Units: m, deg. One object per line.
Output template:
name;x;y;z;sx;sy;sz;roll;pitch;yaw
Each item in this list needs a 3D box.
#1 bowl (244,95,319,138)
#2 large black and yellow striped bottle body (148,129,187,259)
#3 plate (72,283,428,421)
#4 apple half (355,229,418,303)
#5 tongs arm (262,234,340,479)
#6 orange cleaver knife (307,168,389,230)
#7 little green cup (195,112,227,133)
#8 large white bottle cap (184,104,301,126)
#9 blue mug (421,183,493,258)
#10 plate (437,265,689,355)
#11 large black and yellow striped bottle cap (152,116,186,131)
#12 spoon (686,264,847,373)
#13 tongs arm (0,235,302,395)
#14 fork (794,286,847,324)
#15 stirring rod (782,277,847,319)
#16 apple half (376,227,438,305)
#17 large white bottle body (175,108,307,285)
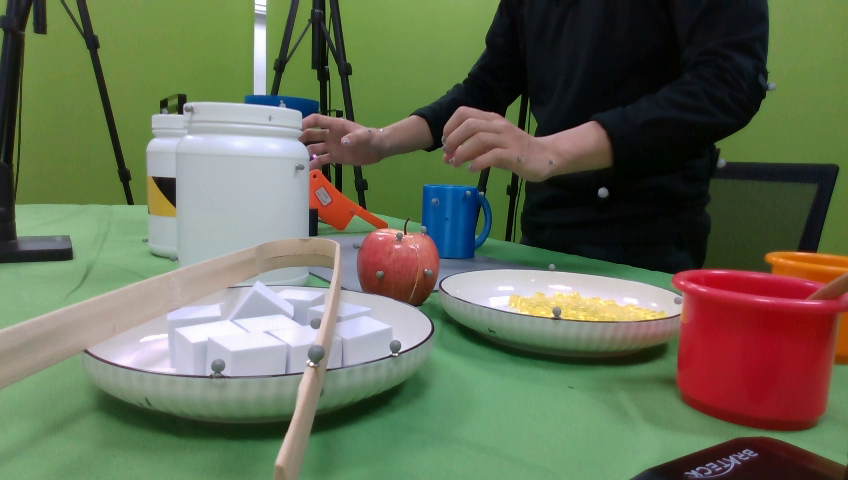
bowl;-0.293;-0.251;1.249;0.151;0.077;0.151;2;7;0
large black and yellow striped bottle body;-0.310;-0.073;0.838;0.131;0.184;0.130;2;8;0
plate;-0.102;0.066;0.381;0.208;0.039;0.207;2;7;0
apple half;-0.043;0.027;0.564;0.081;0.081;0.033;9;5;42
tongs arm;-0.074;0.039;0.349;0.051;0.026;0.384;-2;10;-3
orange cleaver knife;-0.158;-0.060;1.166;0.212;0.077;0.012;34;-12;-32
little green cup;-0.412;-0.227;1.171;0.061;0.038;0.061;3;8;0
large white bottle cap;-0.184;-0.126;0.618;0.115;0.018;0.115;2;8;0
blue mug;0.052;-0.032;0.912;0.117;0.106;0.082;-1;8;-24
plate;0.114;0.057;0.517;0.209;0.038;0.209;3;8;0
large black and yellow striped bottle cap;-0.309;-0.155;0.826;0.115;0.019;0.115;3;6;0
spoon;0.214;0.032;0.328;0.042;0.021;0.193;-3;-35;-26
tongs arm;-0.157;0.038;0.351;0.028;0.028;0.388;-3;9;12
fork;0.332;0.018;0.443;0.028;0.018;0.207;-1;-36;-15
stirring rod;0.344;0.019;0.460;0.014;0.006;0.176;-13;-27;-30
apple half;-0.017;0.026;0.593;0.080;0.074;0.054;4;2;43
large white bottle body;-0.188;-0.042;0.630;0.131;0.184;0.130;2;8;0
